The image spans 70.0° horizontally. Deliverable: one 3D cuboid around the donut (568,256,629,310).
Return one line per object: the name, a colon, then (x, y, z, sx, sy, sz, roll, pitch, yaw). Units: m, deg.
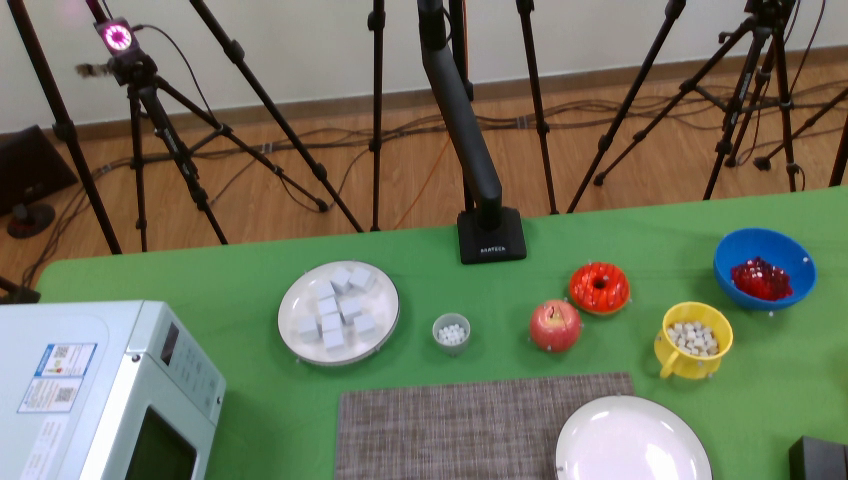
donut: (0.292, 0.072, 1.015, 0.099, 0.049, 0.098, -4, 54, 6)

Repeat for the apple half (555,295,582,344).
apple half: (0.232, 0.125, 0.960, 0.033, 0.082, 0.080, -14, 51, 2)

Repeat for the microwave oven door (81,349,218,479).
microwave oven door: (-0.344, 0.342, 0.723, 0.039, 0.246, 0.352, -3, 52, 5)

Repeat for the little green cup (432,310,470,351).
little green cup: (0.046, 0.149, 0.986, 0.061, 0.039, 0.061, -3, 52, 4)

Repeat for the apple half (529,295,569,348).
apple half: (0.194, 0.134, 0.959, 0.053, 0.075, 0.080, -14, 55, 1)

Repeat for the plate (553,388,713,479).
plate: (0.281, 0.307, 0.829, 0.209, 0.038, 0.207, -3, 51, 4)

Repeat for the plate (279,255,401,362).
plate: (-0.140, 0.118, 1.031, 0.207, 0.039, 0.205, -3, 51, 4)

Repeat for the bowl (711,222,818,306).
bowl: (0.537, 0.052, 0.980, 0.151, 0.077, 0.150, -3, 52, 5)

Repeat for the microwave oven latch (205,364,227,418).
microwave oven latch: (-0.327, 0.233, 0.937, 0.030, 0.030, 0.078, 0, 53, 6)

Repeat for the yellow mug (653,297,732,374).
yellow mug: (0.398, 0.155, 0.922, 0.131, 0.064, 0.099, -40, 58, -21)

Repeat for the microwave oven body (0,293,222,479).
microwave oven body: (-0.487, 0.319, 0.764, 0.326, 0.263, 0.437, -2, 52, 4)
